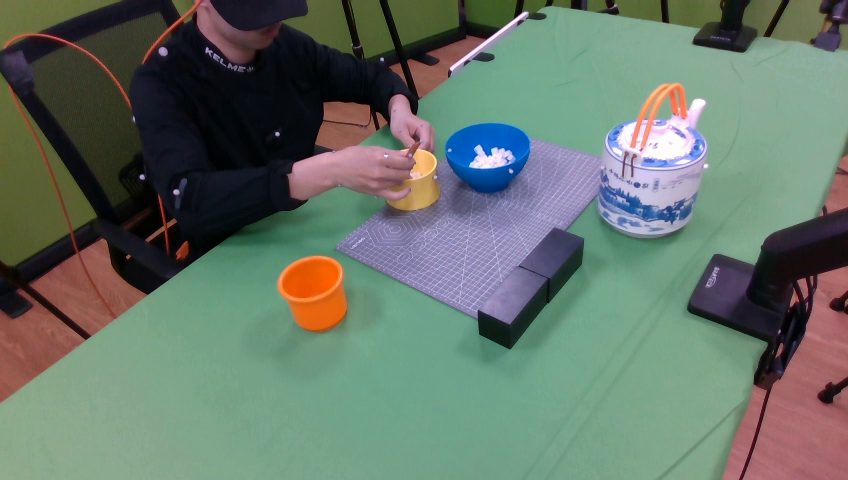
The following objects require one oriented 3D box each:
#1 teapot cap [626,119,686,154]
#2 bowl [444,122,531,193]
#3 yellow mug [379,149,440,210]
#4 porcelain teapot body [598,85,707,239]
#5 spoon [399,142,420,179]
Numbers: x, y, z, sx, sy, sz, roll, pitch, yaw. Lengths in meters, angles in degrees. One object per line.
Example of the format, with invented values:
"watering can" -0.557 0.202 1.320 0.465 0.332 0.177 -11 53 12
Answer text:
"teapot cap" 0.338 -0.153 0.882 0.085 0.044 0.085 -3 38 3
"bowl" 0.113 -0.136 1.063 0.151 0.077 0.150 -4 41 4
"yellow mug" -0.023 -0.117 1.070 0.100 0.064 0.130 0 40 8
"porcelain teapot body" 0.363 -0.137 0.921 0.144 0.226 0.206 28 51 36
"spoon" -0.029 -0.120 0.998 0.042 0.194 0.021 -20 76 -14
